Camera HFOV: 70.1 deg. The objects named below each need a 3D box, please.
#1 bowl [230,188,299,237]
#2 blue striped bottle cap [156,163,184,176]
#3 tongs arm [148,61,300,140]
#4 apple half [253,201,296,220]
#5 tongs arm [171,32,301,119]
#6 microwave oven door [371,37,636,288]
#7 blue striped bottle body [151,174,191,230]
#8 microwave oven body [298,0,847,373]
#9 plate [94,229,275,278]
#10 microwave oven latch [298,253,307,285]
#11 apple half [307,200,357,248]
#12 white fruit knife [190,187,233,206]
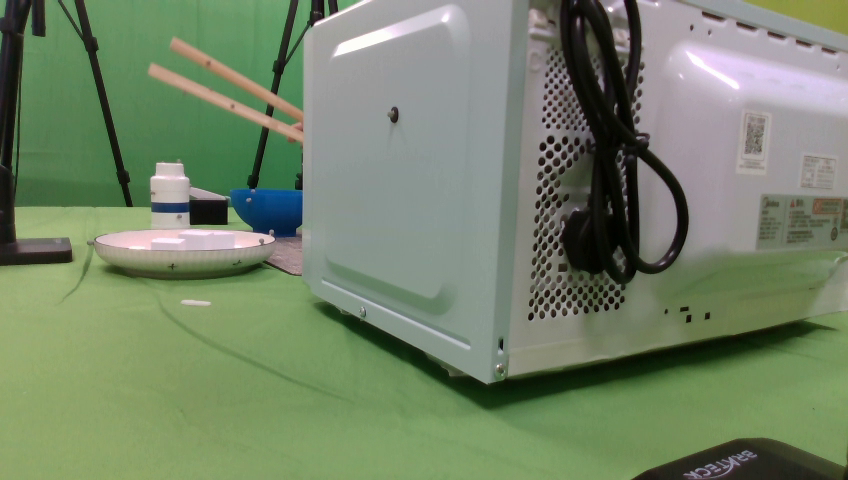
[{"bbox_3d":[-0.264,-0.048,1.065,0.151,0.077,0.151,3,8,0],"label":"bowl"},{"bbox_3d":[-0.438,-0.122,1.045,0.044,0.020,0.044,4,6,0],"label":"blue striped bottle cap"},{"bbox_3d":[-0.358,-0.271,1.235,0.387,0.026,0.050,23,-27,-33],"label":"tongs arm"},{"bbox_3d":[-0.264,-0.053,1.066,0.081,0.033,0.081,1,8,0],"label":"apple half"},{"bbox_3d":[-0.312,-0.285,1.184,0.028,0.027,0.390,-17,-32,38],"label":"tongs arm"},{"bbox_3d":[0.109,-0.080,0.686,0.358,0.243,0.039,-2,9,-33],"label":"microwave oven door"},{"bbox_3d":[-0.439,-0.071,1.052,0.063,0.120,0.063,2,7,0],"label":"blue striped bottle body"},{"bbox_3d":[0.151,-0.055,0.542,0.444,0.260,0.324,-2,7,-33],"label":"microwave oven body"},{"bbox_3d":[-0.291,0.016,0.750,0.208,0.039,0.207,2,7,0],"label":"plate"},{"bbox_3d":[-0.081,0.028,0.582,0.079,0.029,0.030,-1,7,-33],"label":"microwave oven latch"},{"bbox_3d":[-0.135,-0.024,0.941,0.053,0.074,0.081,13,8,39],"label":"apple half"},{"bbox_3d":[-0.413,-0.081,1.270,0.208,0.027,0.016,17,13,-41],"label":"white fruit knife"}]
